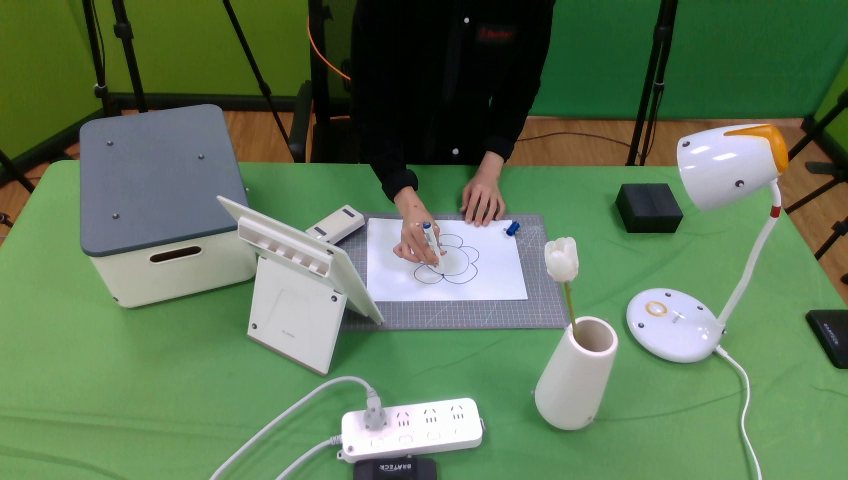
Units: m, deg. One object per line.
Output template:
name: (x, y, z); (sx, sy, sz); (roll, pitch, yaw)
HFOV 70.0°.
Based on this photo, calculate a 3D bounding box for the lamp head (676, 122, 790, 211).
lamp head: (0.423, -0.104, 0.819); (0.122, 0.113, 0.112); (-13, 33, 40)

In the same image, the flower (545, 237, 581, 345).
flower: (0.213, 0.137, 0.846); (0.038, 0.364, 0.044); (22, 55, 40)

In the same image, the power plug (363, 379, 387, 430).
power plug: (-0.071, 0.252, 0.911); (0.035, 0.053, 0.072); (3, 40, 0)

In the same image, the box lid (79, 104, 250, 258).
box lid: (-0.467, -0.120, 1.075); (0.264, 0.015, 0.369); (-13, 49, -17)

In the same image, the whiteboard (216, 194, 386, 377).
whiteboard: (-0.212, 0.093, 0.939); (0.216, 0.307, 0.143); (24, 70, 17)

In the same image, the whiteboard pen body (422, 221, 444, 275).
whiteboard pen body: (0.019, 0.018, 1.098); (0.017, 0.141, 0.017); (-9, 45, 10)

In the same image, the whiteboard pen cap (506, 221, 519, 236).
whiteboard pen cap: (0.180, -0.023, 1.234); (0.018, 0.018, 0.033); (27, 52, 20)

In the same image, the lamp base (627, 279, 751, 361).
lamp base: (0.460, 0.100, 1.027); (0.178, 0.181, 0.160); (27, 51, 17)

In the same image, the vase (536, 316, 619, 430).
vase: (0.229, 0.200, 0.901); (0.098, 0.201, 0.097); (3, 46, -3)

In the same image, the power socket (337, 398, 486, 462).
power socket: (-0.018, 0.285, 0.914); (0.227, 0.033, 0.071); (-4, 46, -8)

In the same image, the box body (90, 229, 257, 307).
box body: (-0.471, -0.070, 1.131); (0.254, 0.161, 0.361); (-14, 49, -17)

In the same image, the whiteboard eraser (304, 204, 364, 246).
whiteboard eraser: (-0.175, -0.022, 1.188); (0.055, 0.042, 0.112); (36, 53, 26)
